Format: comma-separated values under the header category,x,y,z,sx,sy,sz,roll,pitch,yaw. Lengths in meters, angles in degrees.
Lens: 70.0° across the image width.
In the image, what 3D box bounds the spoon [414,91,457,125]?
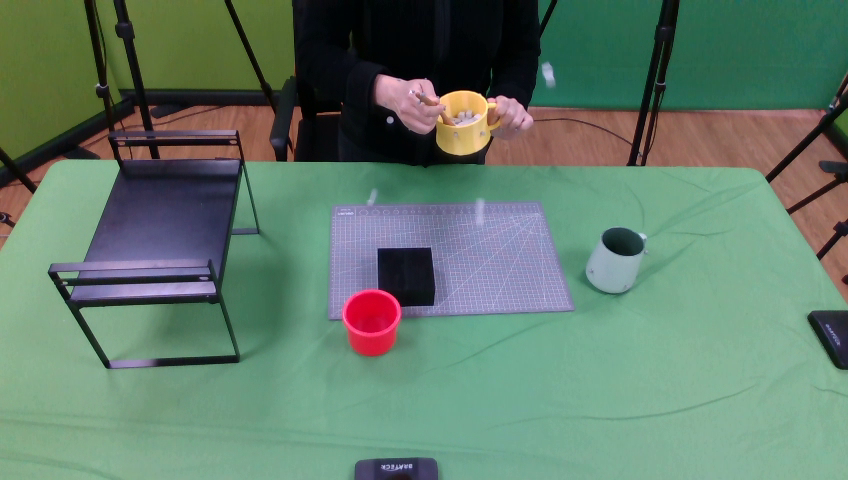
category,x,y,z,sx,sy,sz,roll,pitch,yaw
spoon,0.027,-0.212,1.009,0.041,0.194,0.021,20,87,27

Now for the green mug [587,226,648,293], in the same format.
category,x,y,z,sx,sy,sz,roll,pitch,yaw
green mug,0.372,0.030,1.136,0.125,0.105,0.092,-27,53,-26

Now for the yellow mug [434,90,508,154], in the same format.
category,x,y,z,sx,sy,sz,roll,pitch,yaw
yellow mug,0.085,-0.213,1.079,0.131,0.064,0.099,-12,51,-2
